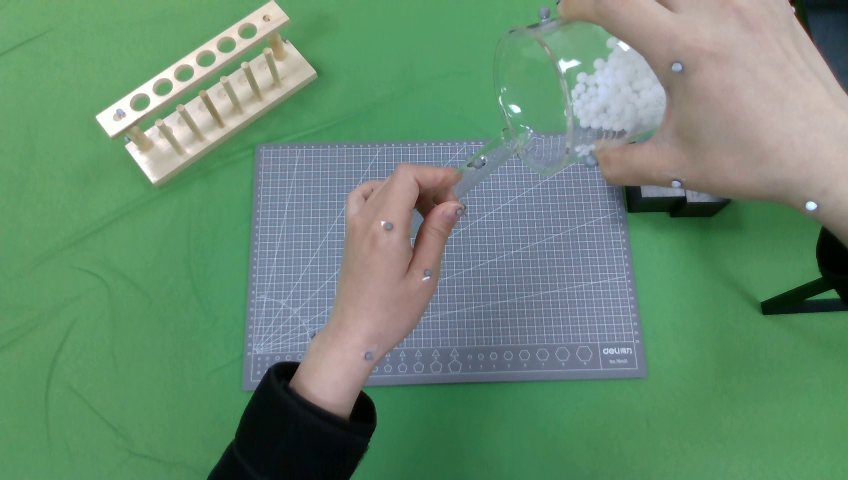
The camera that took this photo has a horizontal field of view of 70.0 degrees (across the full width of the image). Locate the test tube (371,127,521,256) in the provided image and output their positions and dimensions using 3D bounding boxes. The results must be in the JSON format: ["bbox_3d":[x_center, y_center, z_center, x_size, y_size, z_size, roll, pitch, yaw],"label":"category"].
[{"bbox_3d":[0.007,-0.025,0.389,0.017,0.150,0.017,20,53,-29],"label":"test tube"}]

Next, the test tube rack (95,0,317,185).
[{"bbox_3d":[-0.252,-0.176,0.728,0.242,0.085,0.066,-38,77,-11],"label":"test tube rack"}]

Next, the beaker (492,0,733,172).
[{"bbox_3d":[0.095,-0.084,0.311,0.100,0.084,0.073,-21,78,-13],"label":"beaker"}]
